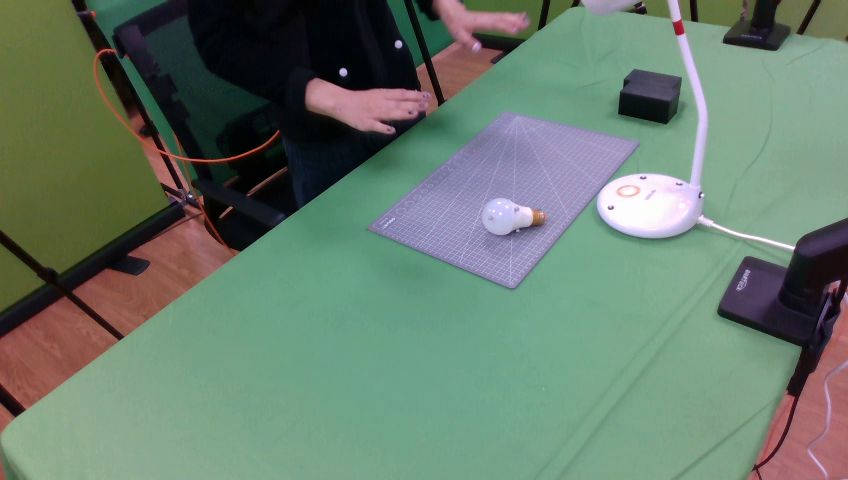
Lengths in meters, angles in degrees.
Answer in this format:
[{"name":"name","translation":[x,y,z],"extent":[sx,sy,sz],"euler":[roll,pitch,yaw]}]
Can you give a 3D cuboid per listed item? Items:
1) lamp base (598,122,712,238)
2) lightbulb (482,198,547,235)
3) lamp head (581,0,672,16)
[{"name":"lamp base","translation":[0.365,-0.113,0.925],"extent":[0.178,0.181,0.161],"euler":[20,48,26]},{"name":"lightbulb","translation":[0.147,-0.037,0.974],"extent":[0.108,0.059,0.059],"euler":[1,39,-12]},{"name":"lamp head","translation":[0.261,-0.338,0.738],"extent":[0.122,0.113,0.112],"euler":[9,42,42]}]
